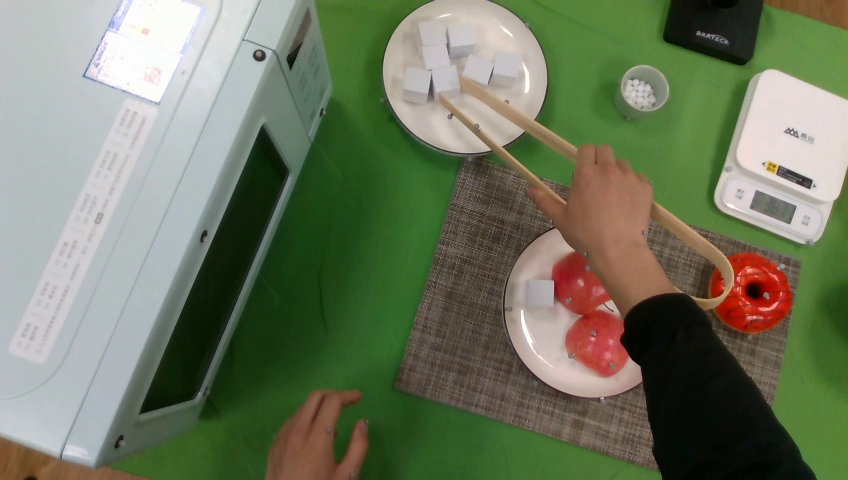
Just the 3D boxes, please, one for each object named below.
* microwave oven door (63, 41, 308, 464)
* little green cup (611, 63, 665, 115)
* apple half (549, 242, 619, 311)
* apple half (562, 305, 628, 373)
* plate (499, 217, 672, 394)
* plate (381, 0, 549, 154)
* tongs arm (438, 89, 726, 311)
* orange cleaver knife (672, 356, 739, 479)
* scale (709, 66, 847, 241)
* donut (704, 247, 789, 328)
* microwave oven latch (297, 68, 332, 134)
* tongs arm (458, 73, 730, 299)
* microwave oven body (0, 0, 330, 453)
[{"bbox_3d":[-0.207,0.017,0.588,0.039,0.244,0.355,20,80,-1],"label":"microwave oven door"},{"bbox_3d":[0.272,-0.190,0.775,0.061,0.039,0.061,1,81,-4],"label":"little green cup"},{"bbox_3d":[0.192,0.039,0.716,0.081,0.053,0.074,-26,81,-7],"label":"apple half"},{"bbox_3d":[0.207,0.114,0.715,0.081,0.033,0.081,0,82,0],"label":"apple half"},{"bbox_3d":[0.190,0.077,0.726,0.209,0.038,0.208,1,82,-4],"label":"plate"},{"bbox_3d":[0.051,-0.205,0.761,0.208,0.039,0.207,1,81,-4],"label":"plate"},{"bbox_3d":[0.151,-0.059,0.653,0.051,0.027,0.381,-37,64,-10],"label":"tongs arm"},{"bbox_3d":[0.339,0.245,0.721,0.077,0.012,0.210,0,80,-9],"label":"orange cleaver knife"},{"bbox_3d":[0.464,-0.113,0.781,0.149,0.031,0.200,22,81,0],"label":"scale"},{"bbox_3d":[0.391,0.058,0.740,0.099,0.048,0.098,0,81,-2],"label":"donut"},{"bbox_3d":[-0.136,-0.169,0.723,0.030,0.029,0.079,23,81,-1],"label":"microwave oven latch"},{"bbox_3d":[0.168,-0.075,0.657,0.028,0.028,0.384,-39,65,-15],"label":"tongs arm"},{"bbox_3d":[-0.329,-0.071,0.597,0.326,0.260,0.440,20,81,-1],"label":"microwave oven body"}]
